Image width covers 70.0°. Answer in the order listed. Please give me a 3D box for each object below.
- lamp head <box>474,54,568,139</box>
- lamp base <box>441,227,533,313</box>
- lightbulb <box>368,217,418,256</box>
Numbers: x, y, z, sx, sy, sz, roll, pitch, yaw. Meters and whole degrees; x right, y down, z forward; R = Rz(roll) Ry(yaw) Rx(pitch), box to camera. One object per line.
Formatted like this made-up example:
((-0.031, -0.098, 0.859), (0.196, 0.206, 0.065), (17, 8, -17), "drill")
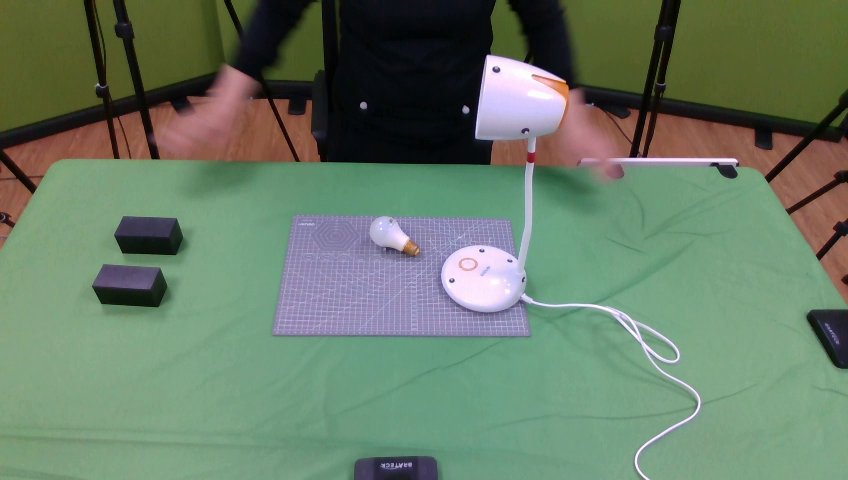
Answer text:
((0.130, -0.184, 0.818), (0.123, 0.113, 0.112), (10, 45, -3), "lamp head")
((0.126, 0.021, 1.072), (0.179, 0.181, 0.160), (23, 49, 14), "lamp base")
((-0.058, -0.003, 1.173), (0.107, 0.060, 0.059), (32, 50, 4), "lightbulb")
